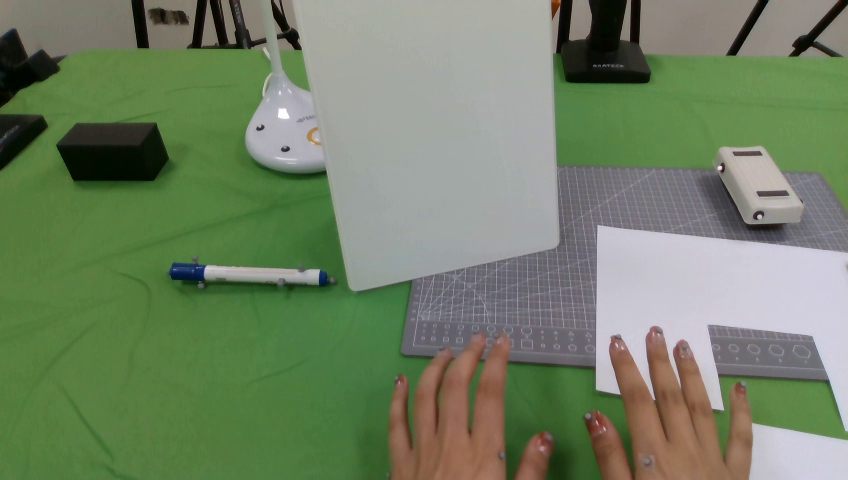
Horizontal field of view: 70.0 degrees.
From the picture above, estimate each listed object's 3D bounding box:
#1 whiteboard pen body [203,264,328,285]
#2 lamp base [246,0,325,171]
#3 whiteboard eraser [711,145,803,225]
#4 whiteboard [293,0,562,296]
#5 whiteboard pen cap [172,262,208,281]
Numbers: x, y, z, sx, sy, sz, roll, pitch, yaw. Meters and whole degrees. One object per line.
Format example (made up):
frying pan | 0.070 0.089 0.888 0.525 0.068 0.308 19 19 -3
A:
whiteboard pen body | -0.163 0.033 0.582 0.141 0.017 0.017 2 41 0
lamp base | -0.157 -0.200 0.728 0.160 0.182 0.177 -32 47 -30
whiteboard eraser | 0.352 -0.058 0.647 0.055 0.042 0.111 1 41 1
whiteboard | 0.001 -0.132 0.593 0.217 0.307 0.142 -12 23 -10
whiteboard pen cap | -0.223 0.030 0.582 0.033 0.018 0.018 4 41 -3
